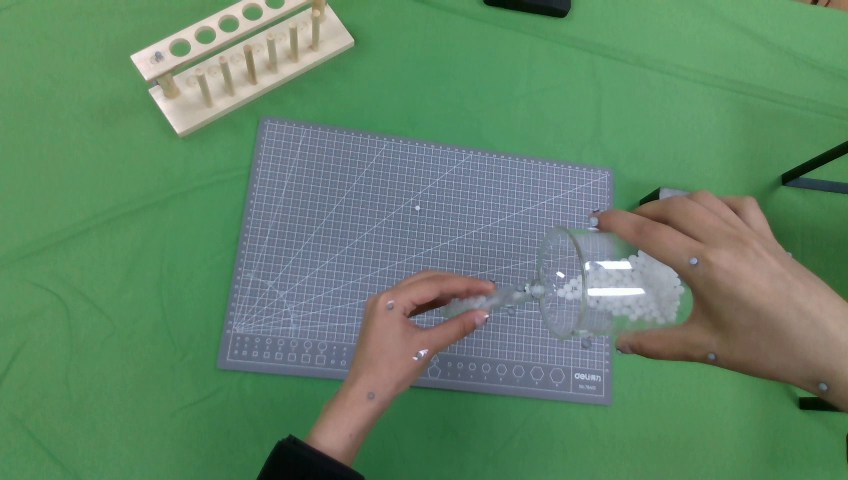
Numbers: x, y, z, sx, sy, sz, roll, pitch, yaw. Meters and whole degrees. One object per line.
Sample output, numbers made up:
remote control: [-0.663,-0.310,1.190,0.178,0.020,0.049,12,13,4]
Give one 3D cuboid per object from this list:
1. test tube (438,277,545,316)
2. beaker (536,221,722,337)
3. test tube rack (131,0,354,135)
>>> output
test tube: [0.049,0.048,0.496,0.017,0.150,0.017,6,76,-24]
beaker: [0.133,0.027,0.403,0.100,0.084,0.073,0,80,-11]
test tube rack: [-0.198,-0.223,0.702,0.242,0.085,0.066,-34,83,-16]
